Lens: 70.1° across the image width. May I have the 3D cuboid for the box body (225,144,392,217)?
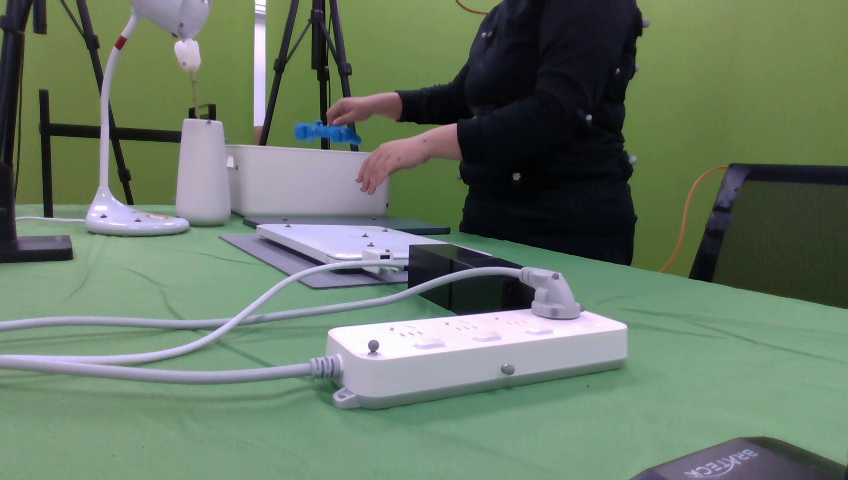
[{"bbox_3d":[-0.289,-0.143,1.475,0.366,0.160,0.253,-1,9,-29],"label":"box body"}]

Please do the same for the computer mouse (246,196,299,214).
[{"bbox_3d":[-0.354,-0.083,1.418,0.117,0.041,0.063,0,10,8],"label":"computer mouse"}]

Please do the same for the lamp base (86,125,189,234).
[{"bbox_3d":[-0.497,-0.105,1.027,0.179,0.180,0.160,1,7,3],"label":"lamp base"}]

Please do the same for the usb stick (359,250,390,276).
[{"bbox_3d":[-0.061,0.026,0.709,0.021,0.027,0.059,-2,3,-29],"label":"usb stick"}]

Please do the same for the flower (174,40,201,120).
[{"bbox_3d":[-0.430,-0.211,1.165,0.044,0.361,0.038,-10,-5,-23],"label":"flower"}]

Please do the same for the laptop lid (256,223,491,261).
[{"bbox_3d":[-0.092,0.000,0.912,0.243,0.013,0.355,1,7,-30],"label":"laptop lid"}]

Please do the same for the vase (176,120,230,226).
[{"bbox_3d":[-0.425,-0.128,1.159,0.098,0.200,0.098,2,9,0],"label":"vase"}]

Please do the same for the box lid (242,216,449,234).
[{"bbox_3d":[-0.162,-0.030,1.233,0.373,0.015,0.262,-1,8,-32],"label":"box lid"}]

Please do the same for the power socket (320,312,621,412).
[{"bbox_3d":[0.038,0.075,0.409,0.228,0.032,0.072,-2,8,-29],"label":"power socket"}]

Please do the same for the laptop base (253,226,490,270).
[{"bbox_3d":[-0.095,0.011,0.911,0.237,0.023,0.352,2,6,-32],"label":"laptop base"}]

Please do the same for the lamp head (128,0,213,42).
[{"bbox_3d":[-0.423,-0.394,0.980,0.123,0.112,0.112,20,7,-3],"label":"lamp head"}]

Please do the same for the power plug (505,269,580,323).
[{"bbox_3d":[0.092,0.051,0.470,0.035,0.052,0.072,0,6,-16],"label":"power plug"}]

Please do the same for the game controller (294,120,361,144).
[{"bbox_3d":[-0.237,-0.259,1.444,0.155,0.051,0.097,7,13,17],"label":"game controller"}]
